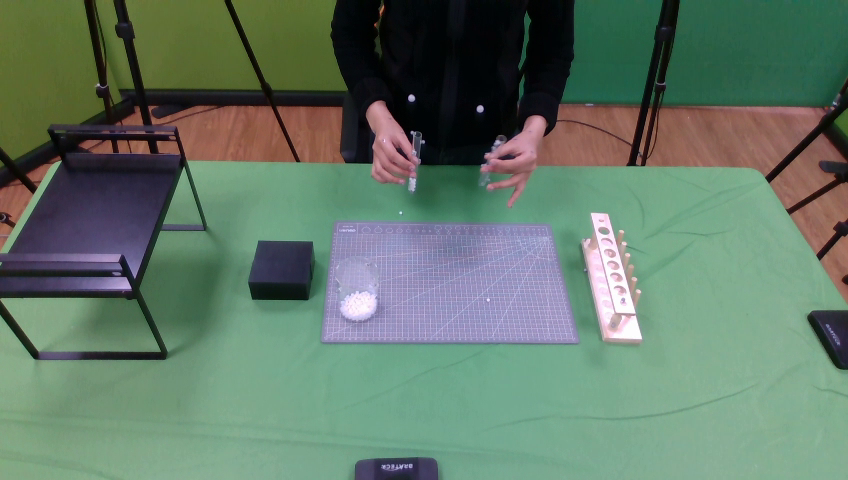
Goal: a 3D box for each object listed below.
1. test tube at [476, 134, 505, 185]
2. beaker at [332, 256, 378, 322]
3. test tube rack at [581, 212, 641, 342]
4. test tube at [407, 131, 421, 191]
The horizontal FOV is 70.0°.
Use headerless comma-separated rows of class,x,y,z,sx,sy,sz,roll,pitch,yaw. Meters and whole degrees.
test tube,0.119,-0.142,1.099,0.017,0.151,0.017,4,63,-8
beaker,-0.114,0.089,1.047,0.083,0.101,0.074,30,52,21
test tube rack,0.351,0.063,1.121,0.067,0.085,0.241,3,46,-1
test tube,-0.019,-0.142,1.120,0.017,0.151,0.017,3,53,-4
